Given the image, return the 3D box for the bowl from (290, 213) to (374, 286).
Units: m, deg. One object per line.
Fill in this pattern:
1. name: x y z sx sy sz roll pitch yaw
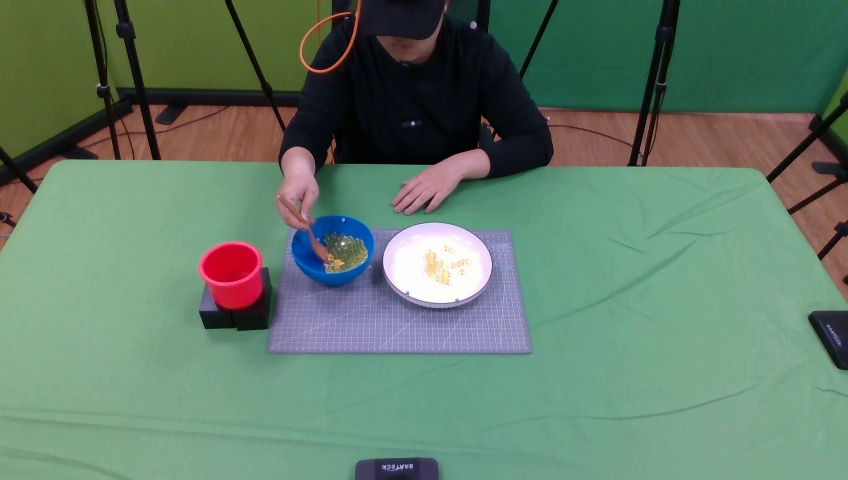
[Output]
1. bowl: -0.166 0.030 1.113 0.151 0.077 0.150 2 46 -2

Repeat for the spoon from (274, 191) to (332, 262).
1. spoon: -0.210 -0.023 1.065 0.021 0.195 0.041 -20 47 4

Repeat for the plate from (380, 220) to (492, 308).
1. plate: 0.022 0.048 1.138 0.208 0.039 0.206 2 46 -2
